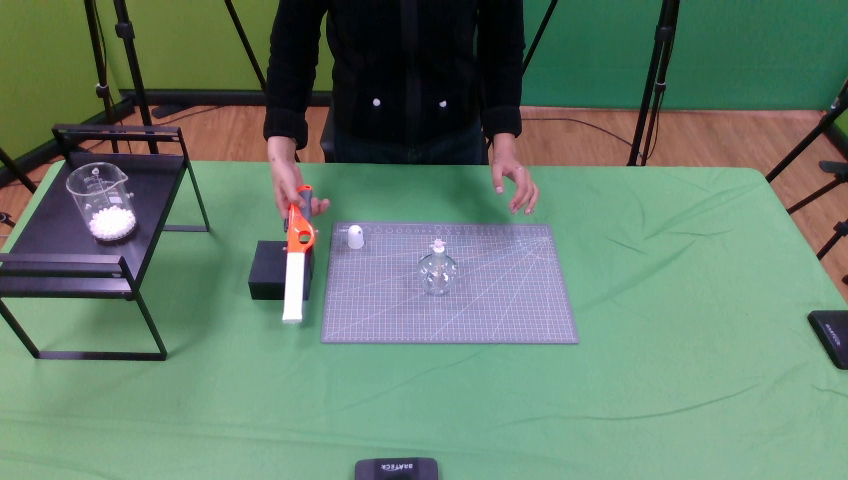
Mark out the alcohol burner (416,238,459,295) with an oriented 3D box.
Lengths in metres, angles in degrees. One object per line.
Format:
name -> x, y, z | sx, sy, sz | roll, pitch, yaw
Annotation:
alcohol burner -> 0.024, 0.042, 1.088 | 0.078, 0.120, 0.077 | 1, 46, 0

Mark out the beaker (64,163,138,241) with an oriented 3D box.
beaker -> -0.477, -0.055, 0.910 | 0.084, 0.101, 0.073 | -9, 48, -13

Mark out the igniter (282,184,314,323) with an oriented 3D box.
igniter -> -0.226, 0.015, 1.077 | 0.057, 0.025, 0.275 | 0, 60, -7

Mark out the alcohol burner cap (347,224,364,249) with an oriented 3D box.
alcohol burner cap -> -0.134, -0.011, 1.176 | 0.034, 0.048, 0.033 | 2, 46, -2
